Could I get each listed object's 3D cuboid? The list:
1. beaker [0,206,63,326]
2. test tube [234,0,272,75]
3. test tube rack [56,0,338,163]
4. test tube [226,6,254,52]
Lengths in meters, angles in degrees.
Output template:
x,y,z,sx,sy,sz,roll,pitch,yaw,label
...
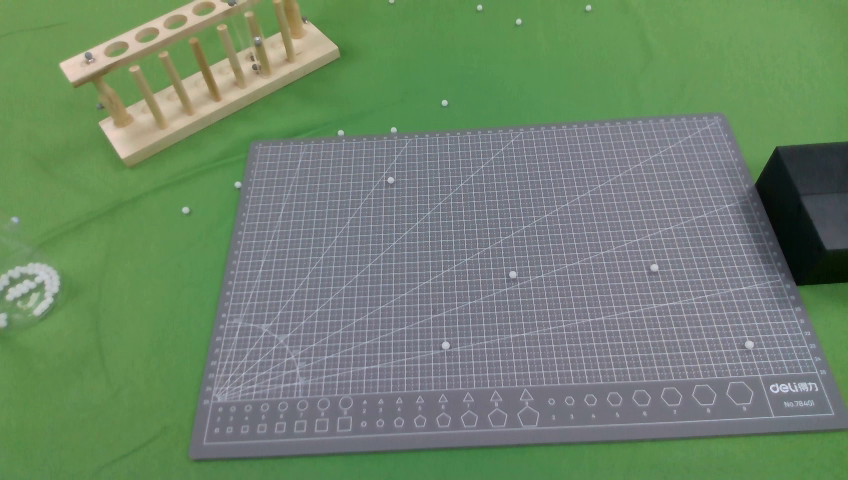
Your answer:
x,y,z,sx,sy,sz,roll,pitch,yaw,label
-0.336,0.013,0.465,0.073,0.101,0.083,20,59,16,beaker
-0.166,-0.218,0.562,0.017,0.152,0.017,-1,54,2,test tube
-0.210,-0.181,0.594,0.242,0.086,0.066,-34,60,-17,test tube rack
-0.192,-0.244,0.575,0.017,0.152,0.017,-4,53,6,test tube
